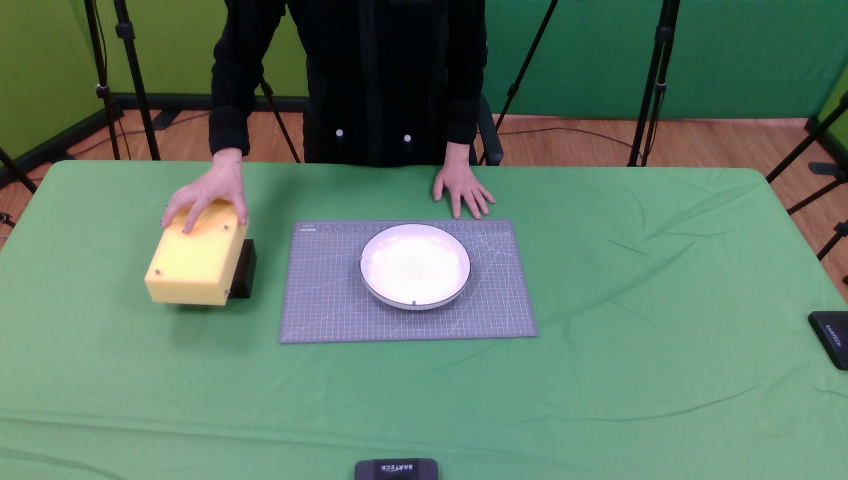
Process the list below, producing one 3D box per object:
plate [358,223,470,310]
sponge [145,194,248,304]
[{"bbox_3d":[-0.019,0.052,1.132,0.209,0.038,0.208,2,46,-2],"label":"plate"},{"bbox_3d":[-0.391,0.012,1.059,0.118,0.061,0.205,2,46,-3],"label":"sponge"}]
